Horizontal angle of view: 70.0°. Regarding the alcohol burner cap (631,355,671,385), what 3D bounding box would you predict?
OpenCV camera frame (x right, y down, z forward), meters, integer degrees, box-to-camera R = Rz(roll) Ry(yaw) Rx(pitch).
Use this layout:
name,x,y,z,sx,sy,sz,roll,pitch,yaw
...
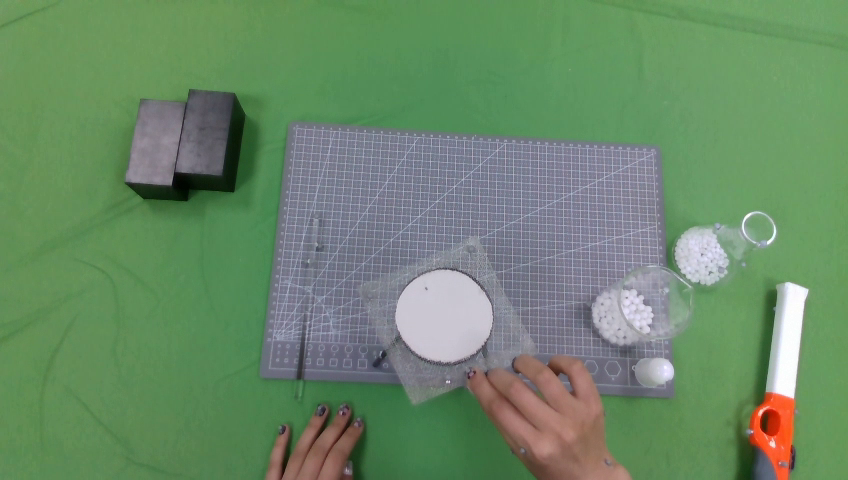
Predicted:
name,x,y,z,sx,sy,sz,roll,pitch,yaw
alcohol burner cap,0.247,0.138,0.651,0.034,0.048,0.033,1,74,-3

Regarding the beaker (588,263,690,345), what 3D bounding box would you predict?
name,x,y,z,sx,sy,sz,roll,pitch,yaw
beaker,0.223,0.071,0.638,0.084,0.100,0.073,-20,77,-9

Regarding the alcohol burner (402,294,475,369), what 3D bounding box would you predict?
name,x,y,z,sx,sy,sz,roll,pitch,yaw
alcohol burner,0.015,0.089,0.613,0.078,0.119,0.077,0,73,-1

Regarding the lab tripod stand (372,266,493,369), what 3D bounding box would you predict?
name,x,y,z,sx,sy,sz,roll,pitch,yaw
lab tripod stand,0.012,0.086,0.604,0.148,0.132,0.147,1,77,-3

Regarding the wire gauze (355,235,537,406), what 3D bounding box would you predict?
name,x,y,z,sx,sy,sz,roll,pitch,yaw
wire gauze,0.018,0.068,0.534,0.125,0.011,0.120,-22,70,-13

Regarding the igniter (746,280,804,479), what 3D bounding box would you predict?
name,x,y,z,sx,sy,sz,roll,pitch,yaw
igniter,0.382,0.177,0.660,0.057,0.025,0.275,19,75,-9

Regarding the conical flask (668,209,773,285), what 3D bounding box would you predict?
name,x,y,z,sx,sy,sz,roll,pitch,yaw
conical flask,0.323,0.002,0.654,0.075,0.122,0.075,1,74,-2

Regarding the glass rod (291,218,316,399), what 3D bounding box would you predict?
name,x,y,z,sx,sy,sz,roll,pitch,yaw
glass rod,-0.131,0.072,0.663,0.008,0.008,0.199,4,78,-2
